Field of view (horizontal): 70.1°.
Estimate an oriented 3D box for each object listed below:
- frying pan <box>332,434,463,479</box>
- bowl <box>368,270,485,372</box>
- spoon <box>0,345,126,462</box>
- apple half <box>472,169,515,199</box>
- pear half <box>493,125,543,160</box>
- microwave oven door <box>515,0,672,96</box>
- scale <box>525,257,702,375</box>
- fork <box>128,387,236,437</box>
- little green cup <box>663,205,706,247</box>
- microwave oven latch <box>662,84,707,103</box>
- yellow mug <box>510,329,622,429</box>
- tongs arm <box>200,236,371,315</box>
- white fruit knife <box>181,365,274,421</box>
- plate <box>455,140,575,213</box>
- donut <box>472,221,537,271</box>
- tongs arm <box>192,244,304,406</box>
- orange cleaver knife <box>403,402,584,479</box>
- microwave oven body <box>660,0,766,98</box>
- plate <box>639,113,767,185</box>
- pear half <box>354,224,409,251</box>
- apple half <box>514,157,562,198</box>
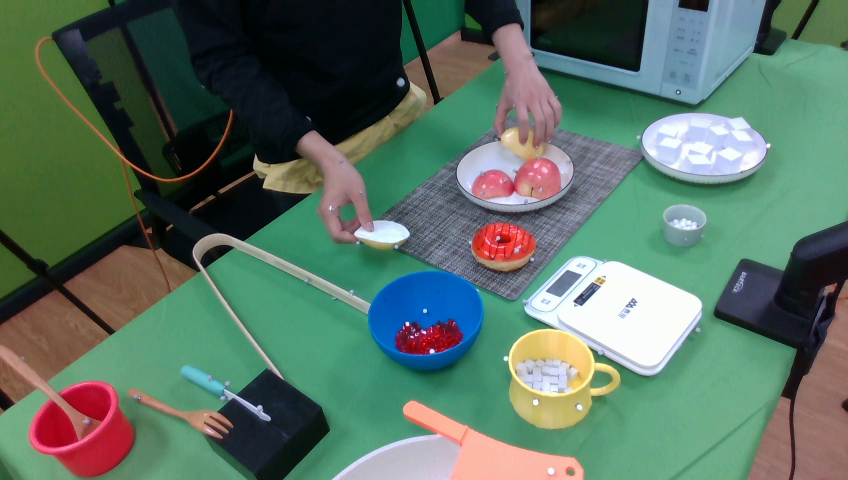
[{"bbox_3d":[-0.089,0.306,0.564,0.487,0.103,0.306,10,41,7],"label":"frying pan"},{"bbox_3d":[0.007,0.118,0.791,0.151,0.077,0.150,-5,40,4],"label":"bowl"},{"bbox_3d":[-0.434,0.192,0.720,0.194,0.021,0.042,47,54,-7],"label":"spoon"},{"bbox_3d":[0.119,-0.106,1.056,0.081,0.033,0.081,-4,41,4],"label":"apple half"},{"bbox_3d":[0.165,-0.180,1.073,0.111,0.056,0.075,12,18,-45],"label":"pear half"},{"bbox_3d":[0.343,-0.455,1.259,0.353,0.245,0.039,26,51,33],"label":"microwave oven door"},{"bbox_3d":[0.254,0.091,0.821,0.199,0.032,0.149,28,51,35],"label":"scale"},{"bbox_3d":[-0.305,0.207,0.744,0.206,0.019,0.028,3,41,36],"label":"fork"},{"bbox_3d":[0.396,-0.020,0.926,0.061,0.039,0.061,-4,40,4],"label":"little green cup"},{"bbox_3d":[0.517,-0.296,1.204,0.078,0.029,0.030,27,52,35],"label":"microwave oven latch"},{"bbox_3d":[0.168,0.164,0.721,0.130,0.064,0.099,0,40,8],"label":"yellow mug"},{"bbox_3d":[-0.209,0.062,0.924,0.381,0.027,0.051,23,54,32],"label":"tongs arm"},{"bbox_3d":[-0.246,0.187,0.747,0.205,0.027,0.016,9,41,40],"label":"white fruit knife"},{"bbox_3d":[0.159,-0.111,1.063,0.209,0.038,0.208,-4,40,4],"label":"plate"},{"bbox_3d":[0.123,0.008,0.923,0.099,0.048,0.098,-3,38,3],"label":"donut"},{"bbox_3d":[-0.268,0.111,0.884,0.028,0.028,0.384,-36,47,-17],"label":"tongs arm"},{"bbox_3d":[0.062,0.222,0.609,0.210,0.012,0.077,15,48,25],"label":"orange cleaver knife"},{"bbox_3d":[0.472,-0.513,1.317,0.438,0.261,0.327,26,51,34],"label":"microwave oven body"},{"bbox_3d":[0.489,-0.157,1.074,0.207,0.039,0.206,-4,40,4],"label":"plate"},{"bbox_3d":[-0.066,0.000,0.921,0.088,0.031,0.070,-10,23,-31],"label":"pear half"},{"bbox_3d":[0.196,-0.113,1.033,0.080,0.053,0.075,16,43,30],"label":"apple half"}]
